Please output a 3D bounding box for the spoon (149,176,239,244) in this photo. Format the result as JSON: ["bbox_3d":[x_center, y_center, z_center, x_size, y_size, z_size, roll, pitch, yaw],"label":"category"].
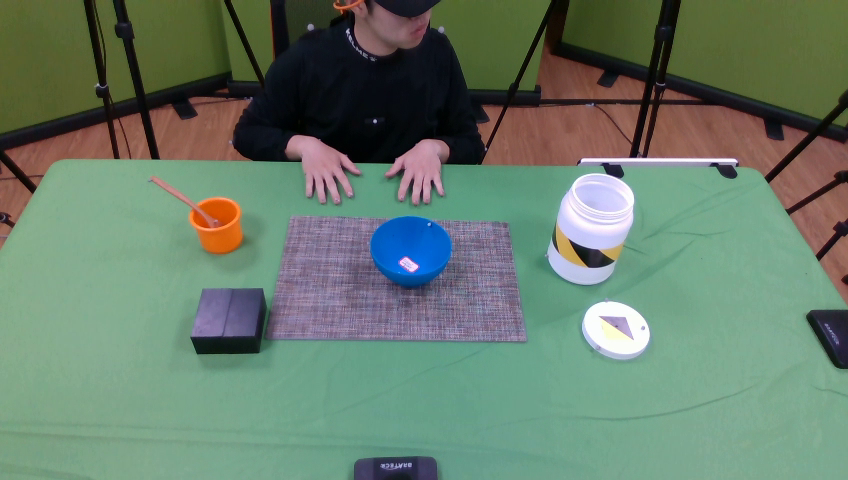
[{"bbox_3d":[-0.427,-0.057,1.132,0.021,0.195,0.041,-27,31,34],"label":"spoon"}]

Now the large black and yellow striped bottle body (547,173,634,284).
[{"bbox_3d":[0.309,-0.022,1.129,0.131,0.185,0.130,2,46,-2],"label":"large black and yellow striped bottle body"}]

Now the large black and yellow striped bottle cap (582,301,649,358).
[{"bbox_3d":[0.340,0.157,1.077,0.115,0.019,0.114,1,47,-1],"label":"large black and yellow striped bottle cap"}]

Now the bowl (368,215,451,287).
[{"bbox_3d":[-0.028,0.033,1.120,0.151,0.077,0.150,2,46,-2],"label":"bowl"}]
